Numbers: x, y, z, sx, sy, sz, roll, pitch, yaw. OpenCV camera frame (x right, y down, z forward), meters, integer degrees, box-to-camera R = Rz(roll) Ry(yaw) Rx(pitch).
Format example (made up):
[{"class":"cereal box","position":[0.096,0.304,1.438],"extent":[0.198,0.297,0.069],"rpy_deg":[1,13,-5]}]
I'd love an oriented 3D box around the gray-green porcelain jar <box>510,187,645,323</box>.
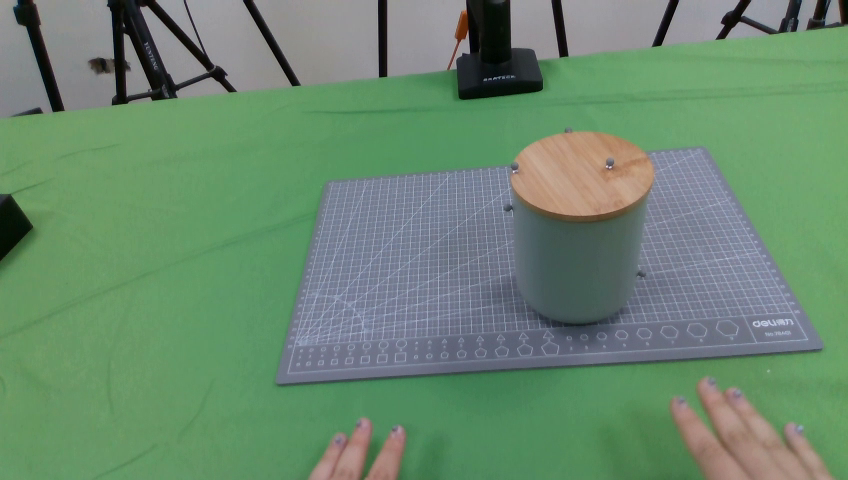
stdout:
[{"class":"gray-green porcelain jar","position":[0.128,-0.001,0.516],"extent":[0.106,0.128,0.105],"rpy_deg":[-5,41,5]}]

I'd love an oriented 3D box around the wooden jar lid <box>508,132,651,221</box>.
[{"class":"wooden jar lid","position":[0.121,-0.048,0.476],"extent":[0.108,0.021,0.107],"rpy_deg":[-6,42,6]}]
